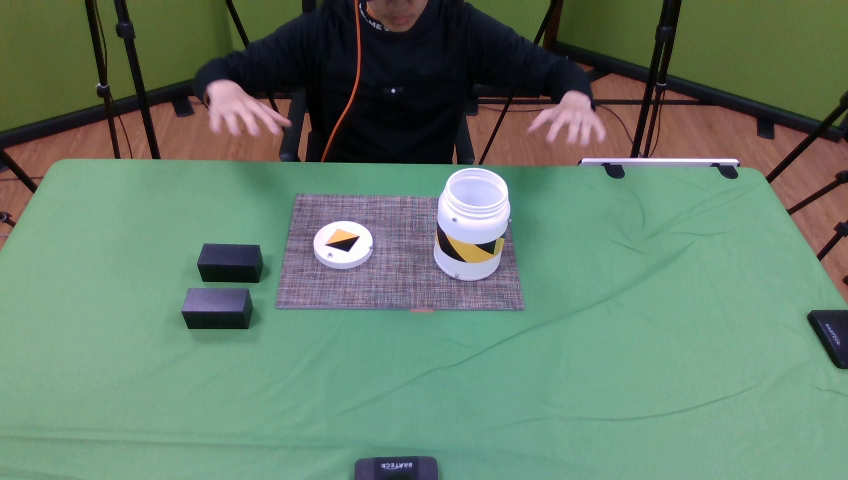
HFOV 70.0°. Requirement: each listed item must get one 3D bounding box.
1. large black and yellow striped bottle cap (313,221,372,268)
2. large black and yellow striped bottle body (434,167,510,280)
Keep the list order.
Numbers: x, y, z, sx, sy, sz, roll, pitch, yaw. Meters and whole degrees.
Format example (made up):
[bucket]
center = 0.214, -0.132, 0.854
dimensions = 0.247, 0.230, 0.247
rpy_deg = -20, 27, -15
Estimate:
[large black and yellow striped bottle cap]
center = -0.158, 0.007, 1.176
dimensions = 0.115, 0.019, 0.114
rpy_deg = 2, 45, -2
[large black and yellow striped bottle body]
center = 0.087, -0.031, 1.114
dimensions = 0.131, 0.185, 0.130
rpy_deg = 2, 46, -2
